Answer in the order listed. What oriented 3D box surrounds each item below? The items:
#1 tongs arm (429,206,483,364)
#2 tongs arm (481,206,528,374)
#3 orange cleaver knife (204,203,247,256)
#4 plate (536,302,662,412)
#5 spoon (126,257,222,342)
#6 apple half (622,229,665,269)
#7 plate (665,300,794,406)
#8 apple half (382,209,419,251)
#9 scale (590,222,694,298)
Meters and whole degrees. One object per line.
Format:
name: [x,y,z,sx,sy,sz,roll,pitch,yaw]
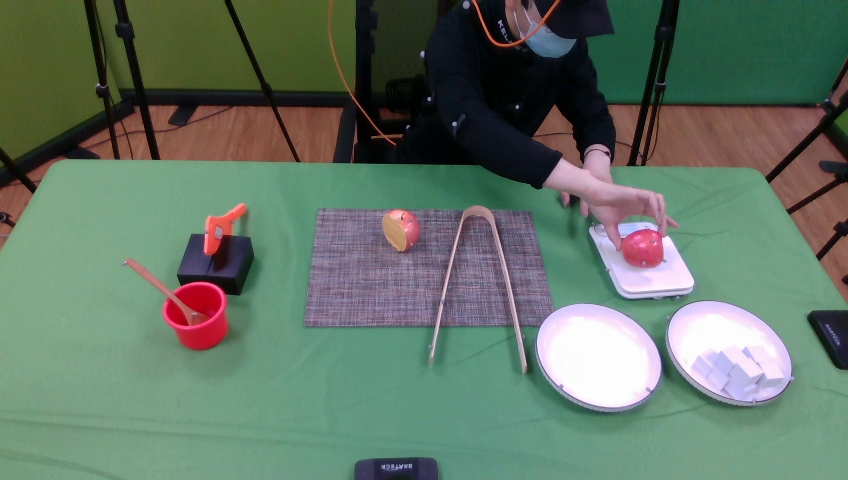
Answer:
tongs arm: [0.064,0.069,1.124,0.051,0.026,0.382,8,46,5]
tongs arm: [0.149,0.077,1.124,0.028,0.028,0.385,-4,46,-2]
orange cleaver knife: [-0.374,-0.024,1.146,0.012,0.077,0.211,4,14,1]
plate: [0.288,0.197,1.016,0.209,0.038,0.208,2,46,-2]
spoon: [-0.408,0.096,0.990,0.194,0.021,0.041,50,53,-18]
apple half: [0.404,0.021,1.112,0.081,0.081,0.033,16,18,11]
plate: [0.513,0.194,1.034,0.208,0.039,0.206,2,46,-2]
apple half: [-0.039,-0.022,1.175,0.053,0.075,0.080,-27,49,-31]
scale: [0.424,0.031,1.189,0.149,0.032,0.199,-3,46,-7]
